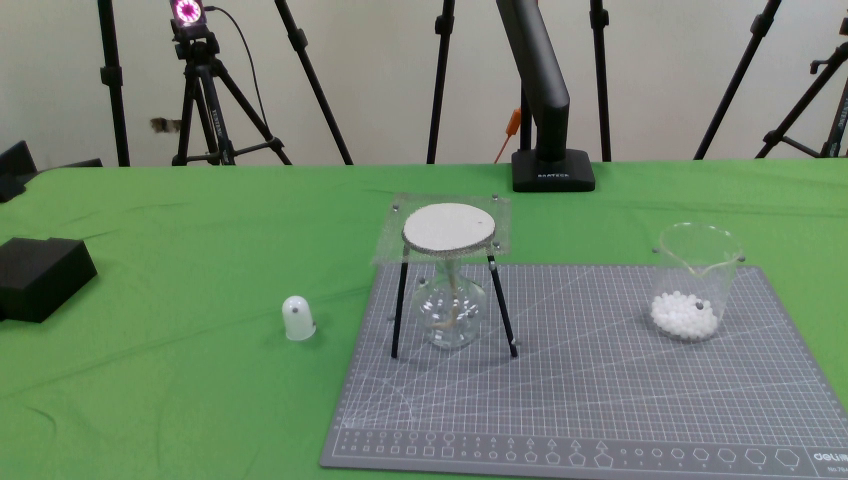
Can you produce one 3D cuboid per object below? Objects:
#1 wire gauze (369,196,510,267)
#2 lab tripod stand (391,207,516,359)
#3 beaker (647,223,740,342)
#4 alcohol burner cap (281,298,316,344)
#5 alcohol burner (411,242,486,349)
[{"bbox_3d":[0.019,-0.012,0.564,0.121,0.011,0.124,0,32,8],"label":"wire gauze"},{"bbox_3d":[0.025,0.042,0.605,0.148,0.132,0.147,-4,31,3],"label":"lab tripod stand"},{"bbox_3d":[0.265,0.046,0.605,0.073,0.101,0.083,8,36,19],"label":"beaker"},{"bbox_3d":[-0.136,0.084,0.649,0.034,0.048,0.033,-3,34,2],"label":"alcohol burner cap"},{"bbox_3d":[0.024,0.051,0.609,0.078,0.120,0.077,-2,34,1],"label":"alcohol burner"}]
